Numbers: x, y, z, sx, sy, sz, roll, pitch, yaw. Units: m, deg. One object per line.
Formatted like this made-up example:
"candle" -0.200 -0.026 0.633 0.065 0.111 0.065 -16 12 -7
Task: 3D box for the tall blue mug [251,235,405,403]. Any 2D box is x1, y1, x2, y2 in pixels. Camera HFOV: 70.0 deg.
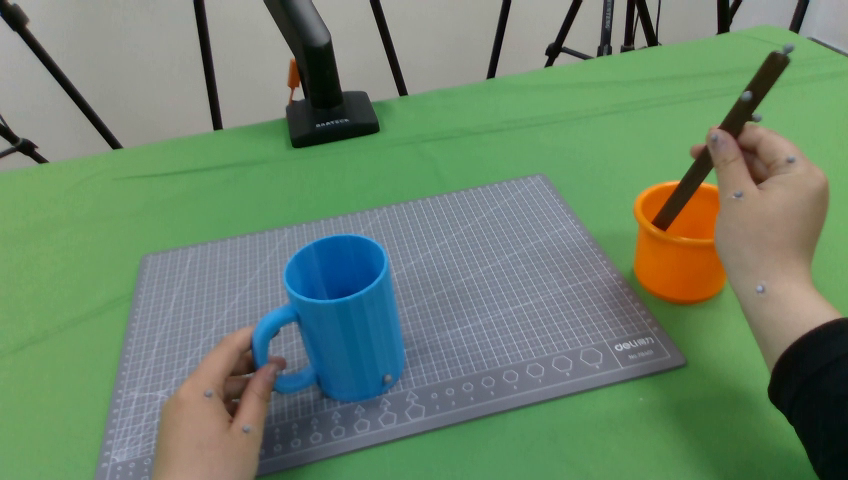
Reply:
"tall blue mug" -0.066 0.070 0.455 0.077 0.109 0.107 14 43 24

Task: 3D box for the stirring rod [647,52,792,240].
"stirring rod" 0.207 -0.059 0.440 0.014 0.177 0.006 36 52 17
